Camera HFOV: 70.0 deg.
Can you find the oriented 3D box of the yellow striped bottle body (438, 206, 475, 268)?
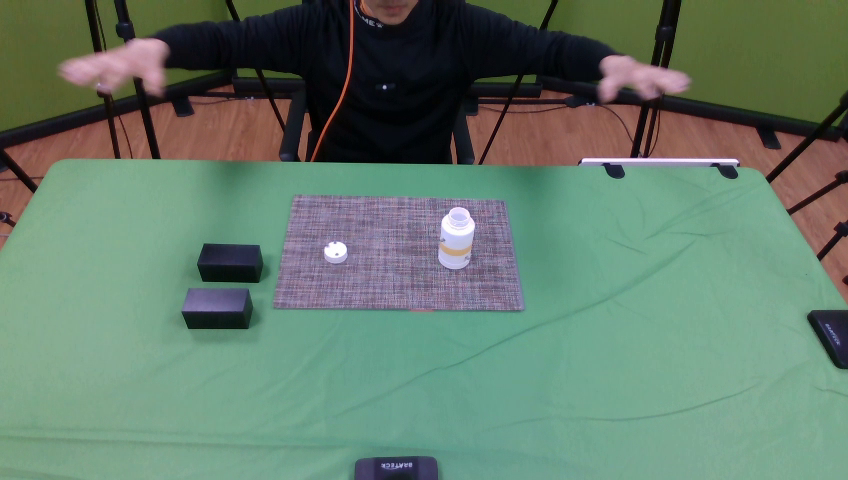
[{"bbox_3d":[0.061,-0.008,1.134,0.063,0.121,0.062,2,47,-2],"label":"yellow striped bottle body"}]

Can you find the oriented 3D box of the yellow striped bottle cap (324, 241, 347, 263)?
[{"bbox_3d":[-0.170,0.022,1.161,0.044,0.019,0.044,1,47,-1],"label":"yellow striped bottle cap"}]
